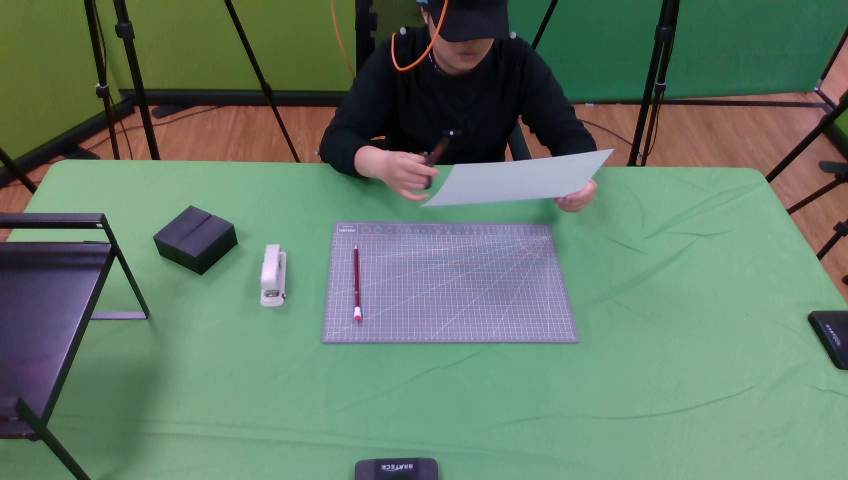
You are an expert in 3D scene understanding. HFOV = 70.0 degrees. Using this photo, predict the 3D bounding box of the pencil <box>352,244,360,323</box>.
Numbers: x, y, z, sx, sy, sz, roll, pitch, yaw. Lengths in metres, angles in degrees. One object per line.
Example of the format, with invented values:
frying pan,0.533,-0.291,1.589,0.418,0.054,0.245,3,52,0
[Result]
pencil,-0.127,0.075,1.119,0.012,0.012,0.192,-3,44,-7

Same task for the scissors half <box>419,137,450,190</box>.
scissors half,0.021,-0.141,1.127,0.013,0.175,0.040,-14,70,-22

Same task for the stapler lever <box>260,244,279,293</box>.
stapler lever,-0.279,0.045,1.096,0.027,0.040,0.117,-2,44,-9

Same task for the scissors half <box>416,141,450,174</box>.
scissors half,0.016,-0.160,1.130,0.013,0.175,0.040,-8,85,-21

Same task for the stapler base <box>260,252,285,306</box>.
stapler base,-0.279,0.064,1.113,0.041,0.024,0.129,-2,44,-9
